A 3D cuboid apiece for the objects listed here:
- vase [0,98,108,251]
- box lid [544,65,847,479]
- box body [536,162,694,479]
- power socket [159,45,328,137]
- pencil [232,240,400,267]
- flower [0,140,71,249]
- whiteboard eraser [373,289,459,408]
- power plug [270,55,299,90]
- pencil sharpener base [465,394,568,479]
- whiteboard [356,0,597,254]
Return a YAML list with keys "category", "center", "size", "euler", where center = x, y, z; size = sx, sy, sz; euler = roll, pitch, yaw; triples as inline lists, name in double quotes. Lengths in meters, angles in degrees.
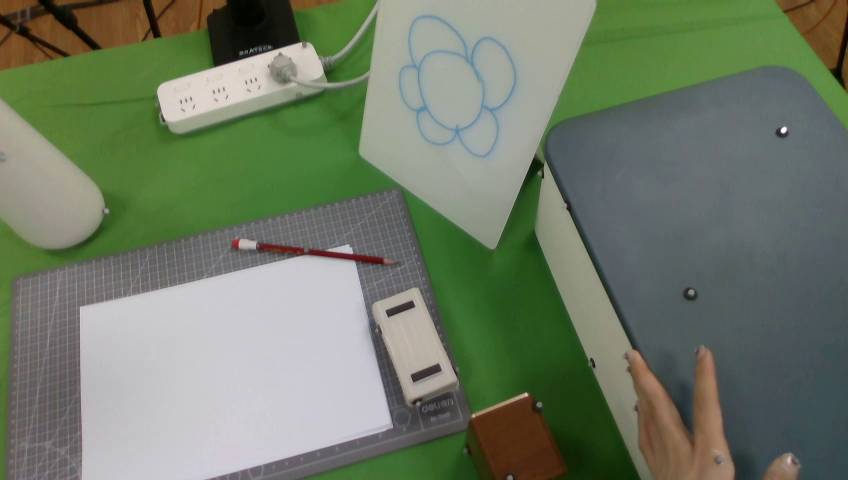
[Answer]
- category: "vase"
  center: [-0.421, -0.068, 0.633]
  size: [0.098, 0.201, 0.097]
  euler: [-1, 62, 2]
- category: "box lid"
  center: [0.277, 0.011, 0.498]
  size: [0.263, 0.015, 0.367]
  euler: [-16, 61, -3]
- category: "box body"
  center: [0.281, 0.057, 0.576]
  size: [0.254, 0.161, 0.360]
  euler: [-15, 63, -7]
- category: "power socket"
  center: [-0.234, -0.197, 0.792]
  size: [0.227, 0.033, 0.071]
  euler: [-19, 64, -10]
- category: "pencil"
  center: [-0.122, 0.017, 0.688]
  size: [0.194, 0.012, 0.012]
  euler: [7, 62, 3]
- category: "flower"
  center: [-0.421, -0.124, 0.570]
  size: [0.038, 0.365, 0.043]
  euler: [-25, 46, -20]
- category: "whiteboard eraser"
  center: [-0.010, 0.109, 0.618]
  size: [0.056, 0.042, 0.111]
  euler: [-19, 63, -11]
- category: "power plug"
  center: [-0.176, -0.201, 0.767]
  size: [0.035, 0.053, 0.072]
  euler: [-11, 64, -4]
- category: "pencil sharpener base"
  center: [0.079, 0.193, 0.539]
  size: [0.061, 0.108, 0.076]
  euler: [-19, 63, -9]
- category: "whiteboard"
  center: [0.069, -0.177, 0.658]
  size: [0.216, 0.307, 0.144]
  euler: [38, 50, 19]
